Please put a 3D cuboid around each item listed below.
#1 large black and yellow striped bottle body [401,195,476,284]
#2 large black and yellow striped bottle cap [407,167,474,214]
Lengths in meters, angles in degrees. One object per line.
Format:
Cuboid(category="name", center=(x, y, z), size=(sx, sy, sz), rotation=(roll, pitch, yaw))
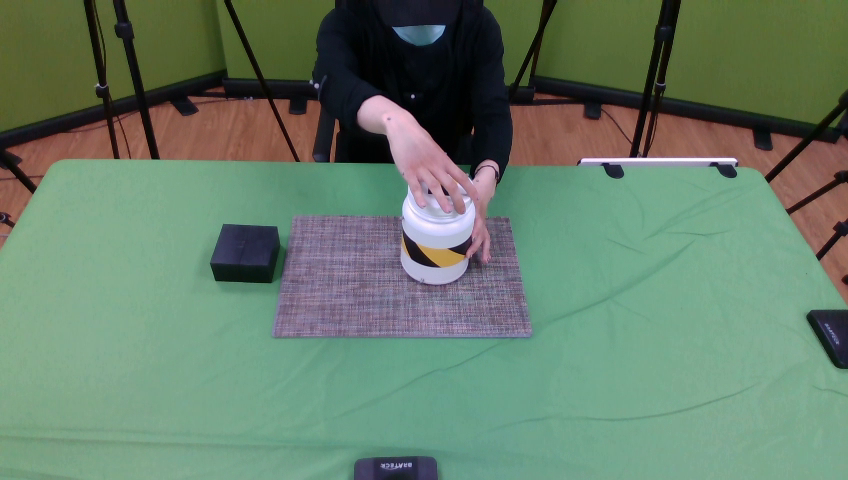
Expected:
Cuboid(category="large black and yellow striped bottle body", center=(0.024, -0.023, 1.100), size=(0.131, 0.185, 0.130), rotation=(2, 46, -2))
Cuboid(category="large black and yellow striped bottle cap", center=(0.028, -0.086, 1.035), size=(0.115, 0.019, 0.114), rotation=(2, 43, -2))
